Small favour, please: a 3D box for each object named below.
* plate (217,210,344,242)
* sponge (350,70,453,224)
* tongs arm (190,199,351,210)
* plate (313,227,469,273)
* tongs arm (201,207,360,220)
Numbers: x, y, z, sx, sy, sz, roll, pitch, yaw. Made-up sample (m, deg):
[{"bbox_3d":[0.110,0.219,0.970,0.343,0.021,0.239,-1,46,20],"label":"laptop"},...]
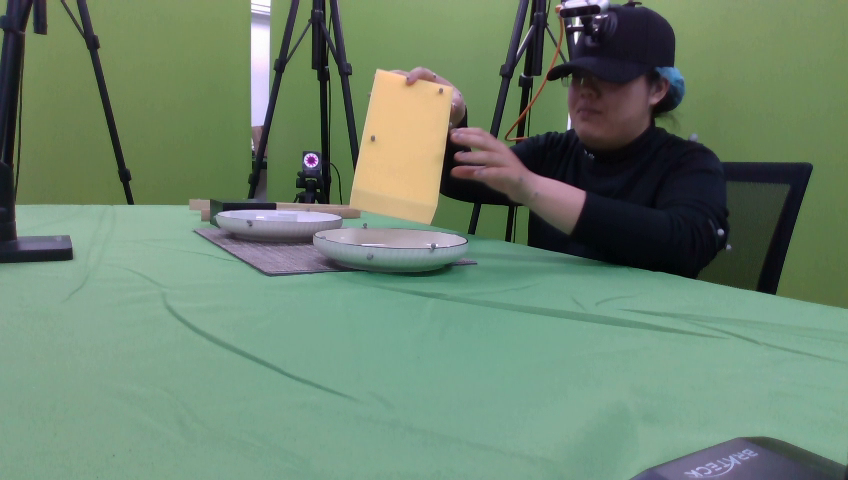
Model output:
[{"bbox_3d":[-0.241,-0.025,1.026,0.208,0.039,0.207,3,7,0],"label":"plate"},{"bbox_3d":[-0.029,-0.134,0.864,0.118,0.206,0.061,10,-27,-6],"label":"sponge"},{"bbox_3d":[-0.341,-0.075,1.419,0.387,0.026,0.050,0,8,-25],"label":"tongs arm"},{"bbox_3d":[-0.044,0.012,0.807,0.209,0.038,0.209,2,7,0],"label":"plate"},{"bbox_3d":[-0.302,-0.060,1.350,0.390,0.028,0.028,-3,7,-38],"label":"tongs arm"}]
